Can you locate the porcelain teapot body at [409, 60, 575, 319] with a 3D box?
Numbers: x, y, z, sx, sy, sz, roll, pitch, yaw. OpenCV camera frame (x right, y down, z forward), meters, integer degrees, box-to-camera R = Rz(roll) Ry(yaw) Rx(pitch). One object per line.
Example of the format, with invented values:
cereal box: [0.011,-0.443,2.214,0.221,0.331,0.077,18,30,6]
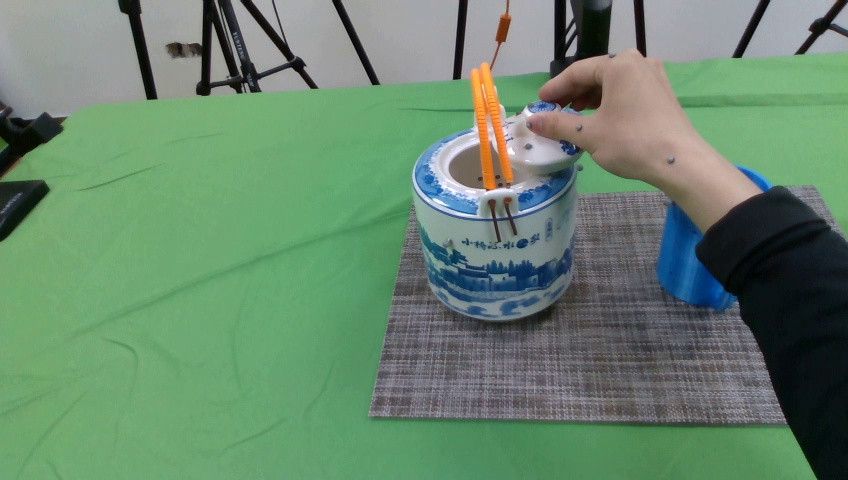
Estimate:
porcelain teapot body: [0.060,-0.064,0.562,0.145,0.227,0.203,-7,41,4]

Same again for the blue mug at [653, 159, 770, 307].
blue mug: [0.257,0.003,0.541,0.082,0.107,0.115,-2,42,9]

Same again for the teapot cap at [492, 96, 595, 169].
teapot cap: [0.097,-0.093,0.495,0.085,0.044,0.084,-6,40,5]
